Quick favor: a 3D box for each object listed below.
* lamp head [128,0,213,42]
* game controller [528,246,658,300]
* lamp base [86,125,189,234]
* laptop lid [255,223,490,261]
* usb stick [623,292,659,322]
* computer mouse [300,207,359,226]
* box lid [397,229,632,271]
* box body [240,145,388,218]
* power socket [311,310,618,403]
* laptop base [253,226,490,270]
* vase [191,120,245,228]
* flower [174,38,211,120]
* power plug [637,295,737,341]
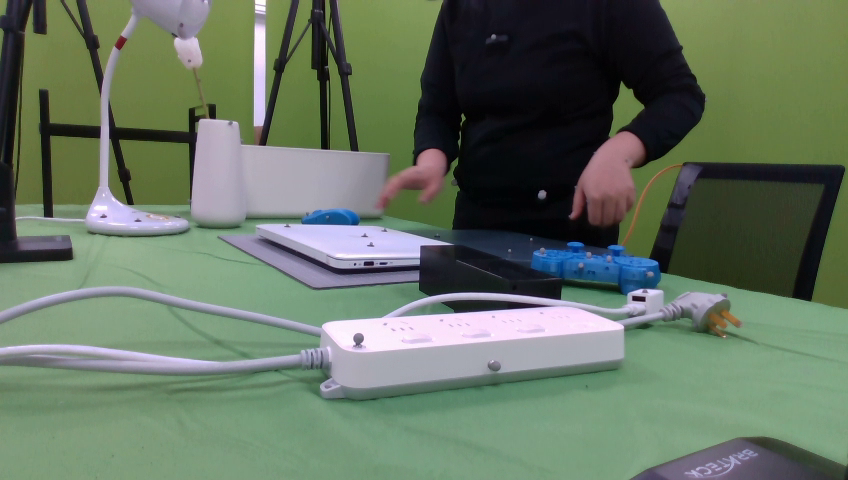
[{"bbox_3d":[-0.423,-0.394,0.980,0.123,0.112,0.112,20,7,-3],"label":"lamp head"},{"bbox_3d":[0.202,0.036,0.733,0.155,0.051,0.097,5,11,20],"label":"game controller"},{"bbox_3d":[-0.497,-0.105,1.027,0.179,0.180,0.160,1,7,3],"label":"lamp base"},{"bbox_3d":[-0.093,0.000,0.911,0.243,0.013,0.355,1,7,-30],"label":"laptop lid"},{"bbox_3d":[0.211,0.063,0.580,0.021,0.027,0.059,-2,-4,36],"label":"usb stick"},{"bbox_3d":[-0.194,-0.046,1.241,0.117,0.041,0.063,0,10,11],"label":"computer mouse"},{"bbox_3d":[0.140,0.012,1.044,0.265,0.015,0.369,-1,9,-32],"label":"box lid"},{"bbox_3d":[-0.297,-0.143,1.474,0.366,0.160,0.253,-1,9,-30],"label":"box body"},{"bbox_3d":[0.034,0.074,0.415,0.228,0.032,0.072,-1,7,-24],"label":"power socket"},{"bbox_3d":[-0.096,0.012,0.911,0.237,0.023,0.352,3,6,-32],"label":"laptop base"},{"bbox_3d":[-0.389,-0.124,1.142,0.098,0.200,0.098,3,9,0],"label":"vase"},{"bbox_3d":[-0.401,-0.207,1.141,0.038,0.361,0.044,-14,3,44],"label":"flower"},{"bbox_3d":[0.235,0.077,0.535,0.072,0.035,0.052,-33,40,-5],"label":"power plug"}]
